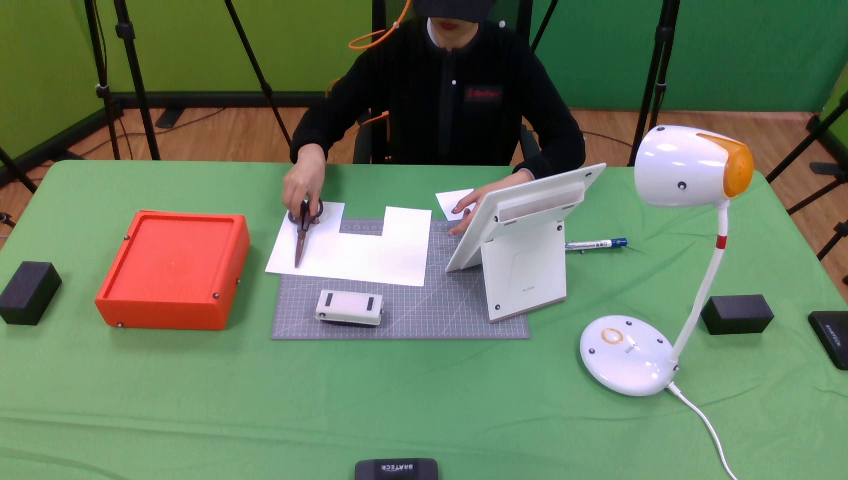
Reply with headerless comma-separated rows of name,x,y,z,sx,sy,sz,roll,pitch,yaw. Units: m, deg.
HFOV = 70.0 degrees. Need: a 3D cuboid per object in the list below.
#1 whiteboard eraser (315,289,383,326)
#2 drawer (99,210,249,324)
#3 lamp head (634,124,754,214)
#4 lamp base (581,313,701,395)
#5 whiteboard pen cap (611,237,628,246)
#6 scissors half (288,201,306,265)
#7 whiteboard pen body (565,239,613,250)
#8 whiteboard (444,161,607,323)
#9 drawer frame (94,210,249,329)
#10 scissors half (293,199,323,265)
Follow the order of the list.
whiteboard eraser,-0.130,0.119,1.054,0.113,0.042,0.055,6,47,1
drawer,-0.435,0.044,1.081,0.194,0.073,0.210,3,47,-2
lamp head,0.351,-0.089,0.776,0.112,0.113,0.122,-30,30,-28
lamp base,0.361,0.144,0.972,0.178,0.181,0.160,34,53,23
whiteboard pen cap,0.390,0.004,1.215,0.033,0.018,0.018,-7,47,-2
scissors half,-0.251,-0.015,1.192,0.040,0.013,0.174,-18,44,8
whiteboard pen body,0.331,0.008,1.211,0.141,0.017,0.017,-5,47,-4
whiteboard,0.186,0.025,1.029,0.217,0.306,0.143,-14,68,-18
drawer frame,-0.434,0.048,1.076,0.202,0.083,0.212,2,47,-3
scissors half,-0.231,-0.018,1.188,0.040,0.013,0.174,-2,48,16
